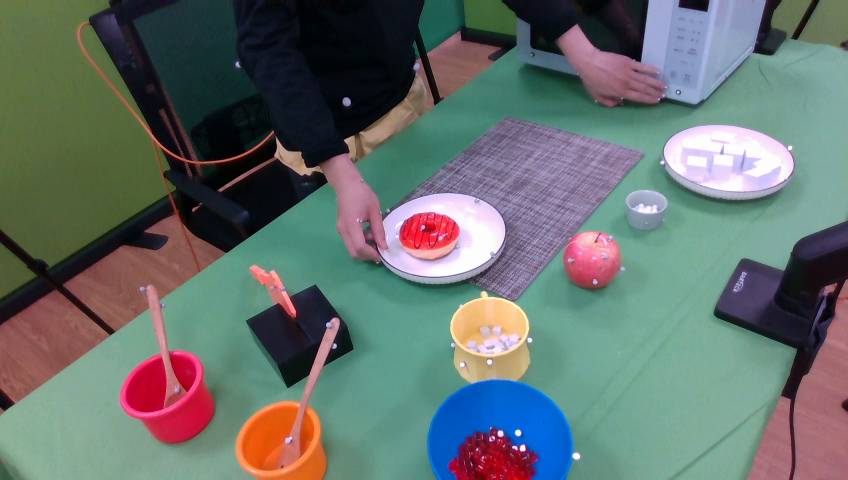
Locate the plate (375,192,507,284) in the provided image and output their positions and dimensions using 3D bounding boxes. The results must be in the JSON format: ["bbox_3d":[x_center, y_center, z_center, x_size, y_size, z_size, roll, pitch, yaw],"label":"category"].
[{"bbox_3d":[0.027,0.000,0.952,0.209,0.038,0.208,-4,40,4],"label":"plate"}]

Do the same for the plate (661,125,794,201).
[{"bbox_3d":[0.514,-0.128,1.035,0.207,0.039,0.206,-4,40,4],"label":"plate"}]

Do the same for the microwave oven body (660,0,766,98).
[{"bbox_3d":[0.472,-0.513,1.317,0.438,0.261,0.327,26,51,34],"label":"microwave oven body"}]

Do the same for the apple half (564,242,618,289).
[{"bbox_3d":[0.229,0.044,0.848,0.081,0.081,0.033,16,41,26],"label":"apple half"}]

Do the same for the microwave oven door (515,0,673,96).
[{"bbox_3d":[0.343,-0.455,1.259,0.353,0.245,0.039,26,51,33],"label":"microwave oven door"}]

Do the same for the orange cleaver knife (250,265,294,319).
[{"bbox_3d":[-0.221,0.073,0.876,0.012,0.077,0.210,-24,12,-22],"label":"orange cleaver knife"}]

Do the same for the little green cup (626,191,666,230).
[{"bbox_3d":[0.352,-0.046,0.963,0.061,0.039,0.061,-4,40,4],"label":"little green cup"}]

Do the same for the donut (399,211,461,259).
[{"bbox_3d":[0.009,-0.009,0.948,0.099,0.048,0.098,-4,39,4],"label":"donut"}]

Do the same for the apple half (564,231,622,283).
[{"bbox_3d":[0.248,0.021,0.874,0.080,0.075,0.053,13,40,28],"label":"apple half"}]

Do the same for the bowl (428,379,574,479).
[{"bbox_3d":[0.083,0.233,0.645,0.151,0.077,0.150,-4,39,4],"label":"bowl"}]

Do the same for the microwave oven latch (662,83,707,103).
[{"bbox_3d":[0.517,-0.296,1.204,0.078,0.029,0.030,27,52,35],"label":"microwave oven latch"}]

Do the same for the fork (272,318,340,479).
[{"bbox_3d":[-0.131,0.186,0.676,0.028,0.019,0.207,17,90,28],"label":"fork"}]

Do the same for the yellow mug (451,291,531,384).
[{"bbox_3d":[0.085,0.120,0.786,0.100,0.064,0.130,-7,39,1],"label":"yellow mug"}]

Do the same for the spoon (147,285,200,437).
[{"bbox_3d":[-0.319,0.148,0.754,0.042,0.021,0.193,-14,85,-11],"label":"spoon"}]
